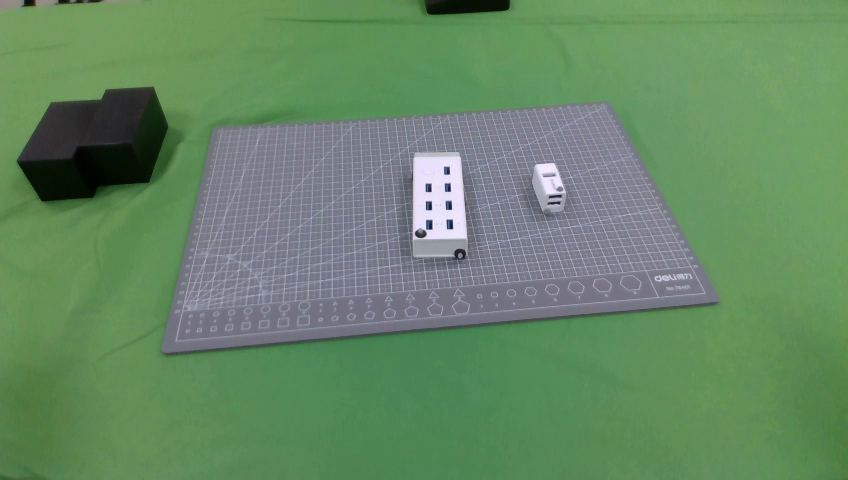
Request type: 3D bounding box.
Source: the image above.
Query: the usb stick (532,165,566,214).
[{"bbox_3d":[0.119,-0.054,0.586,0.021,0.027,0.058,-5,43,-3],"label":"usb stick"}]

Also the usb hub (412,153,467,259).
[{"bbox_3d":[0.013,-0.035,0.570,0.049,0.025,0.124,-1,45,0],"label":"usb hub"}]
